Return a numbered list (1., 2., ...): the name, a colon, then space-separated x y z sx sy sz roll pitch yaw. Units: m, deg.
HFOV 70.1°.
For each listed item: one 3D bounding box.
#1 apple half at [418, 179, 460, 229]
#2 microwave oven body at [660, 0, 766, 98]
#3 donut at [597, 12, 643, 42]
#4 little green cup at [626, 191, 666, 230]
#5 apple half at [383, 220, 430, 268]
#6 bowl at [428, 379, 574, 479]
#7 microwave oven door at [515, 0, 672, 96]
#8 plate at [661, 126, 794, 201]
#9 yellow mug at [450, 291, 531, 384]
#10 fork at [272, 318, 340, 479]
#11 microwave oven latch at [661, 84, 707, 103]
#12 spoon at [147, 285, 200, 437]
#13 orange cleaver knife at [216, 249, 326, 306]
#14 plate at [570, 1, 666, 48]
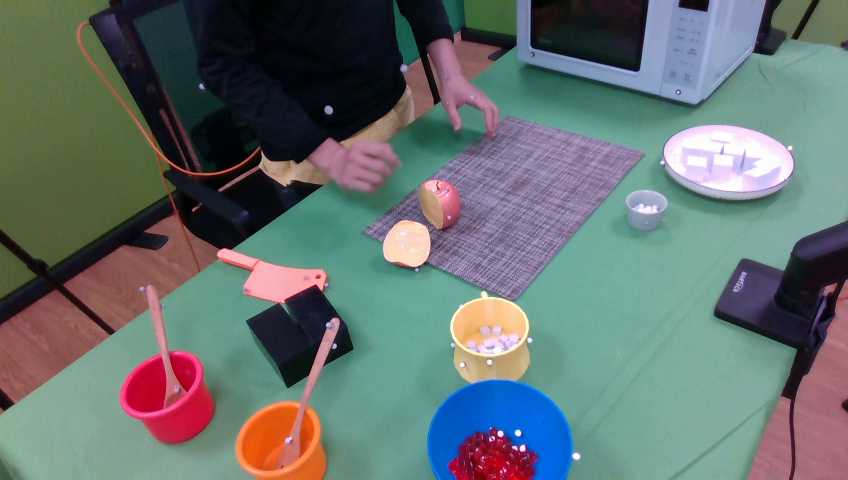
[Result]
1. apple half: 0.032 -0.062 0.998 0.053 0.075 0.080 -23 39 -23
2. microwave oven body: 0.472 -0.513 1.317 0.438 0.261 0.327 26 51 34
3. donut: 0.436 -0.476 1.347 0.099 0.048 0.098 -13 30 8
4. little green cup: 0.352 -0.046 0.963 0.061 0.039 0.061 -4 40 4
5. apple half: -0.022 0.009 0.948 0.081 0.033 0.081 -4 73 13
6. bowl: 0.082 0.233 0.644 0.151 0.077 0.150 -4 39 4
7. microwave oven door: 0.343 -0.454 1.259 0.353 0.245 0.039 26 51 33
8. plate: 0.513 -0.128 1.035 0.207 0.039 0.206 -4 40 4
9. yellow mug: 0.085 0.120 0.786 0.100 0.064 0.130 -7 39 1
10. fork: -0.131 0.186 0.676 0.028 0.019 0.207 17 90 28
11. microwave oven latch: 0.517 -0.296 1.204 0.078 0.029 0.030 27 52 35
12. spoon: -0.318 0.148 0.754 0.042 0.021 0.193 -15 85 -10
13. orange cleaver knife: -0.248 0.058 0.944 0.210 0.012 0.077 13 50 20
14. plate: 0.437 -0.485 1.370 0.209 0.038 0.208 -4 42 4
